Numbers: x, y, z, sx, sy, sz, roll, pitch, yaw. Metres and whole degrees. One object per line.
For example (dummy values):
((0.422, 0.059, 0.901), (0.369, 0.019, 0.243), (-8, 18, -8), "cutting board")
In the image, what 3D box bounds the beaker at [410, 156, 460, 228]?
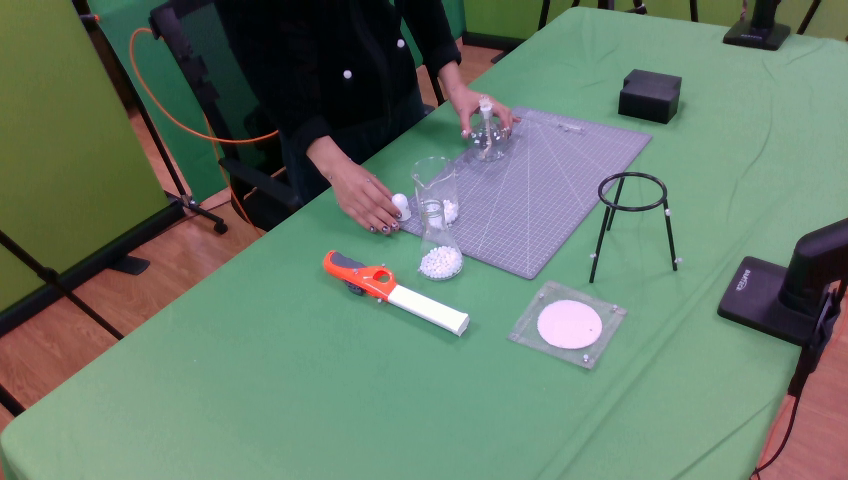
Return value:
((0.020, -0.076, 1.006), (0.074, 0.101, 0.084), (3, 42, 15), "beaker")

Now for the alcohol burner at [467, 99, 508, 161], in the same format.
((0.119, -0.210, 1.134), (0.078, 0.119, 0.077), (-4, 39, 4), "alcohol burner")

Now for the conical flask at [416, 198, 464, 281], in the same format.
((0.019, -0.004, 0.907), (0.075, 0.122, 0.075), (-5, 40, 5), "conical flask")

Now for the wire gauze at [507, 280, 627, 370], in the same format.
((0.196, 0.114, 0.823), (0.120, 0.011, 0.125), (20, 50, 31), "wire gauze")

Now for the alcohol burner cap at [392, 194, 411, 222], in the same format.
((-0.041, -0.057, 1.040), (0.034, 0.048, 0.033), (-5, 41, 4), "alcohol burner cap")

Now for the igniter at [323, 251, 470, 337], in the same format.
((-0.052, 0.075, 0.901), (0.274, 0.025, 0.057), (22, 60, 32), "igniter")

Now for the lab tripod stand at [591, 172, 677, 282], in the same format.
((0.292, -0.022, 0.867), (0.148, 0.132, 0.147), (-7, 39, 6), "lab tripod stand")

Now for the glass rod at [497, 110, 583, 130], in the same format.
((0.233, -0.245, 1.235), (0.198, 0.008, 0.008), (20, 49, 35), "glass rod")
